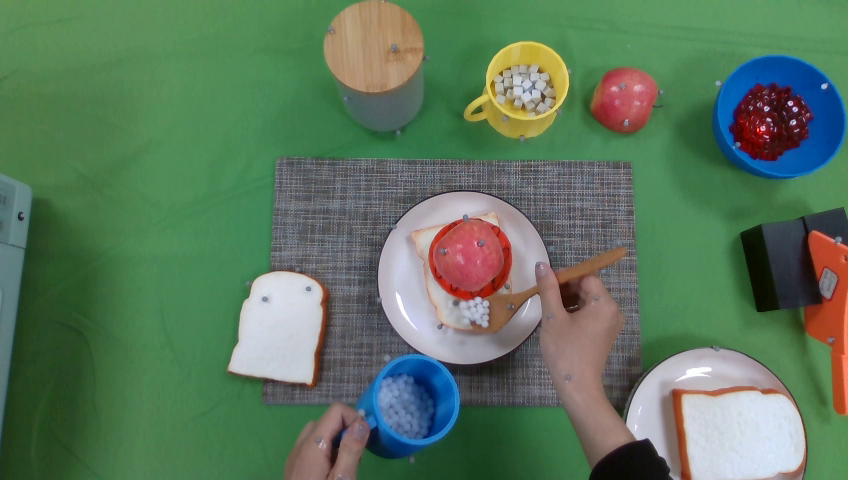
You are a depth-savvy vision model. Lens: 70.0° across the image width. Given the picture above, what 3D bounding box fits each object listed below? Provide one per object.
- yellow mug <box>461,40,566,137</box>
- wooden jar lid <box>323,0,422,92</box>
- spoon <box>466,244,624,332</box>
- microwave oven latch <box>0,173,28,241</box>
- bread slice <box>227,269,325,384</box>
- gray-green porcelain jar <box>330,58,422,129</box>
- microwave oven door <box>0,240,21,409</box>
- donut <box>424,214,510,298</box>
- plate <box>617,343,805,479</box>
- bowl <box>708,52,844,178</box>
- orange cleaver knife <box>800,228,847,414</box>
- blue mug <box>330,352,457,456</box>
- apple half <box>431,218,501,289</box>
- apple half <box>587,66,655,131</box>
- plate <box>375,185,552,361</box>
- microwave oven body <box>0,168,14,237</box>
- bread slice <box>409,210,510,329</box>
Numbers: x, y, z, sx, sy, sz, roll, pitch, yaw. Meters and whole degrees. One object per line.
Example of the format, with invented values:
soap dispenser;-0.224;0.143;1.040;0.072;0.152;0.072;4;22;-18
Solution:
yellow mug;0.106;-0.181;0.750;0.131;0.064;0.099;-23;81;-3
wooden jar lid;-0.056;-0.209;0.662;0.108;0.021;0.108;0;78;1
spoon;0.118;0.049;0.621;0.022;0.193;0.041;17;53;-39
microwave oven latch;-0.496;-0.040;0.721;0.030;0.029;0.079;4;81;1
bread slice;-0.174;0.099;0.724;0.105;0.019;0.131;8;82;1
gray-green porcelain jar;-0.055;-0.198;0.723;0.106;0.127;0.105;0;80;0
microwave oven door;-0.504;0.158;0.585;0.039;0.244;0.354;1;80;0
donut;0.050;0.018;0.698;0.099;0.048;0.098;0;80;1
plate;0.323;0.223;0.694;0.209;0.038;0.208;0;80;0
bowl;0.410;-0.140;0.736;0.151;0.077;0.151;0;81;1
orange cleaver knife;0.460;0.092;0.694;0.012;0.077;0.212;-10;102;-8
blue mug;-0.036;0.168;0.588;0.117;0.106;0.082;-20;73;-25
apple half;0.047;0.014;0.662;0.081;0.033;0.081;-1;81;7
apple half;0.249;-0.183;0.757;0.074;0.053;0.080;23;81;7
plate;0.046;0.040;0.722;0.208;0.039;0.207;0;80;0
microwave oven body;-0.648;0.115;0.598;0.326;0.261;0.440;1;81;0
bread slice;0.051;0.038;0.723;0.107;0.018;0.133;-16;81;-1
